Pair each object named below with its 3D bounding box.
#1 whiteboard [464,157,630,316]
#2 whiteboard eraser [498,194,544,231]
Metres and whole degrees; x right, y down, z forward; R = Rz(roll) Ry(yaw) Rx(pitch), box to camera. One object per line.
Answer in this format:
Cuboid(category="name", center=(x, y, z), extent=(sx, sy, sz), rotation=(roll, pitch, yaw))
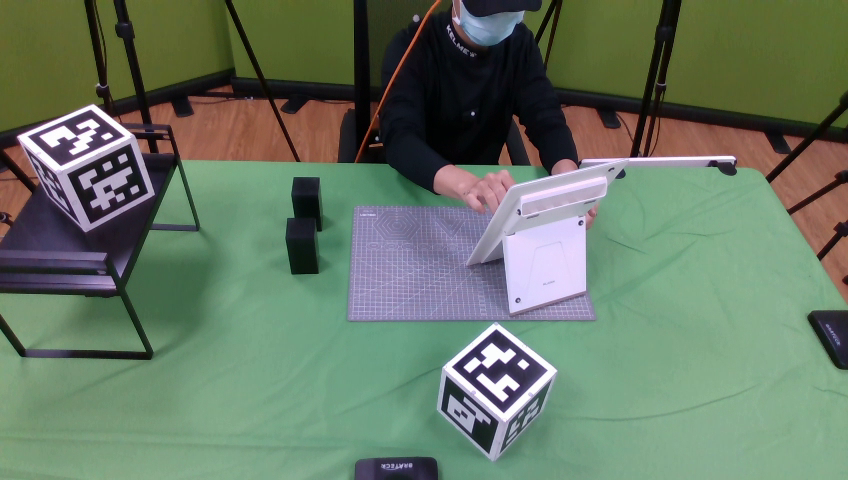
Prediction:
Cuboid(category="whiteboard", center=(0.224, 0.015, 1.041), extent=(0.217, 0.306, 0.143), rotation=(-14, 68, -17))
Cuboid(category="whiteboard eraser", center=(0.167, -0.048, 1.047), extent=(0.041, 0.101, 0.018), rotation=(-6, 66, -40))
